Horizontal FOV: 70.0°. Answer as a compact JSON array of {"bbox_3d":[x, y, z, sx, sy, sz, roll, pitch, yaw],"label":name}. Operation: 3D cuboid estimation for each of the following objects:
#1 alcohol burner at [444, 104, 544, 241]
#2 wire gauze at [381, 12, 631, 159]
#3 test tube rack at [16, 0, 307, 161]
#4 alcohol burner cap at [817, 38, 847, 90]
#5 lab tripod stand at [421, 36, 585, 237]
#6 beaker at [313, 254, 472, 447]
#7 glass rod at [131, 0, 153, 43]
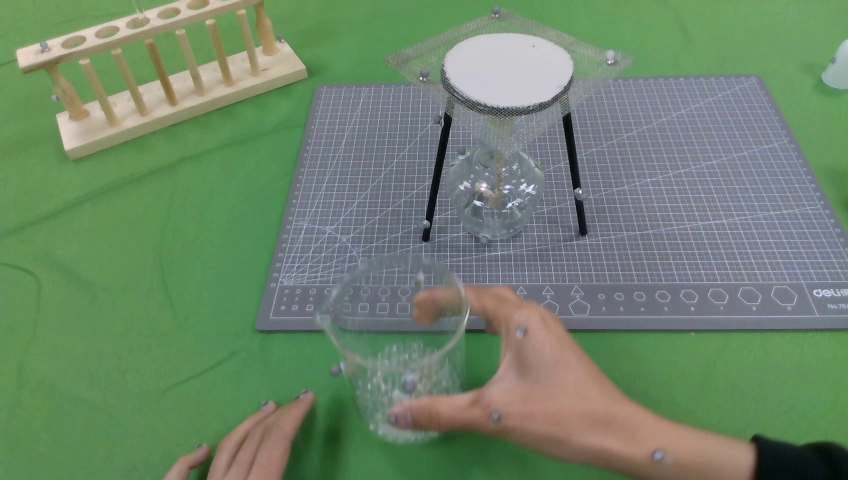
[{"bbox_3d":[0.054,-0.055,0.457,0.078,0.120,0.077,-1,51,1],"label":"alcohol burner"},{"bbox_3d":[0.053,-0.114,0.405,0.121,0.011,0.124,-34,56,-24],"label":"wire gauze"},{"bbox_3d":[-0.247,-0.171,0.596,0.242,0.086,0.066,-25,52,-17],"label":"test tube rack"},{"bbox_3d":[0.408,-0.173,0.586,0.034,0.048,0.033,-1,49,2],"label":"alcohol burner cap"},{"bbox_3d":[0.061,-0.072,0.458,0.148,0.133,0.147,-1,49,1],"label":"lab tripod stand"},{"bbox_3d":[-0.014,0.069,0.349,0.084,0.101,0.073,-4,48,0],"label":"beaker"},{"bbox_3d":[-0.261,-0.214,0.547,0.008,0.201,0.008,2,50,-2],"label":"glass rod"}]
